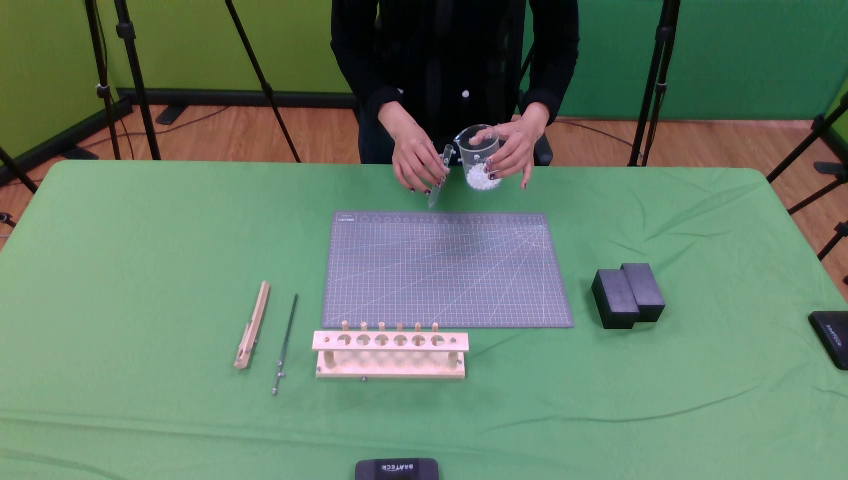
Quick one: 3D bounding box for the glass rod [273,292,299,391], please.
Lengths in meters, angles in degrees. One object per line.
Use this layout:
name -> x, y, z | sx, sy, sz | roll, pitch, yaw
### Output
glass rod -> -0.233, 0.167, 1.030 | 0.008, 0.008, 0.198 | 3, 46, 0

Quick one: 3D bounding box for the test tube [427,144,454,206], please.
test tube -> 0.029, -0.119, 1.134 | 0.017, 0.151, 0.017 | 9, 47, -9

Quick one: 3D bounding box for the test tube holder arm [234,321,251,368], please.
test tube holder arm -> -0.299, 0.173, 1.013 | 0.010, 0.015, 0.087 | -16, 42, 22

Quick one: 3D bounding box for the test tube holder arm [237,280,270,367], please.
test tube holder arm -> -0.290, 0.139, 1.042 | 0.013, 0.015, 0.177 | -16, 42, 22

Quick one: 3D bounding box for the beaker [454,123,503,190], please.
beaker -> 0.101, -0.147, 1.086 | 0.084, 0.101, 0.073 | 5, 49, 20

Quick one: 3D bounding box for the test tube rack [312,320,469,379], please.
test tube rack -> -0.054, 0.173, 0.984 | 0.242, 0.085, 0.066 | 1, 46, -3
